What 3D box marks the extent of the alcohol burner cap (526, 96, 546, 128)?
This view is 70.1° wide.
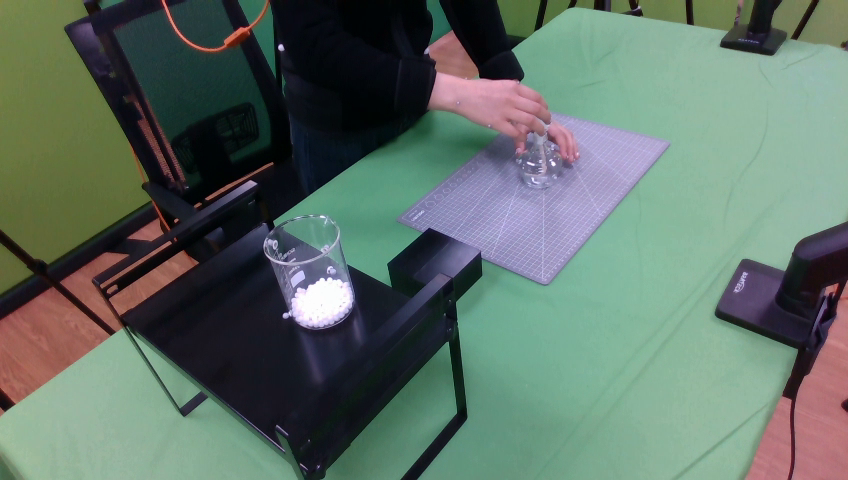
[{"bbox_3d":[0.183,-0.211,0.983,0.034,0.048,0.033,-4,42,4],"label":"alcohol burner cap"}]

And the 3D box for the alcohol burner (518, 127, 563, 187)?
[{"bbox_3d":[0.201,-0.151,1.046,0.078,0.119,0.077,-6,42,6],"label":"alcohol burner"}]

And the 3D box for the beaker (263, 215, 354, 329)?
[{"bbox_3d":[-0.112,0.034,0.616,0.073,0.101,0.084,13,44,22],"label":"beaker"}]
